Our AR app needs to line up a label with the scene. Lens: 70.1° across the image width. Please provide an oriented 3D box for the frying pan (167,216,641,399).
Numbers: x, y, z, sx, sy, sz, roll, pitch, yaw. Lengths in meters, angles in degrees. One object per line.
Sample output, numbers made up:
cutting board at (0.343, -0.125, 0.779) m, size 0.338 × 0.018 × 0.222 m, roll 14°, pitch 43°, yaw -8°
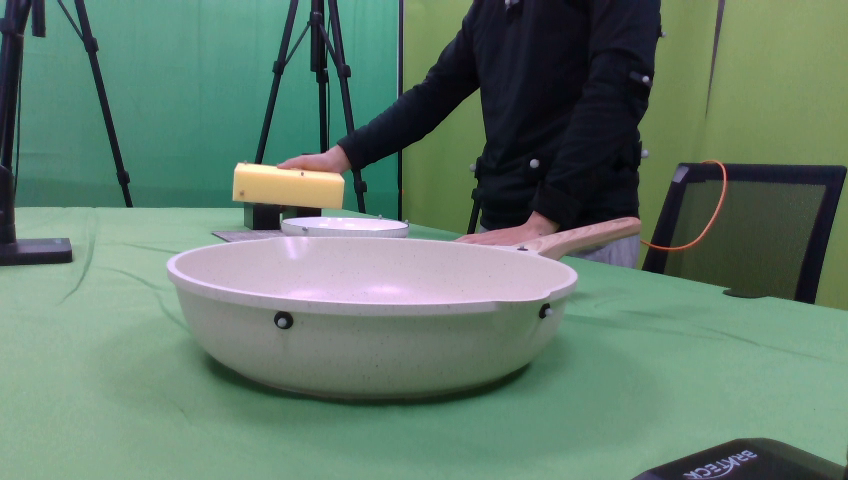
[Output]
frying pan at (0.046, 0.024, 0.519) m, size 0.490 × 0.102 × 0.305 m, roll -14°, pitch 16°, yaw -37°

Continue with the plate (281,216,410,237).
plate at (-0.126, -0.012, 0.986) m, size 0.208 × 0.039 × 0.207 m, roll 2°, pitch 7°, yaw 0°

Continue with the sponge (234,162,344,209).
sponge at (-0.271, -0.111, 1.216) m, size 0.208 × 0.061 × 0.118 m, roll 4°, pitch 13°, yaw -17°
